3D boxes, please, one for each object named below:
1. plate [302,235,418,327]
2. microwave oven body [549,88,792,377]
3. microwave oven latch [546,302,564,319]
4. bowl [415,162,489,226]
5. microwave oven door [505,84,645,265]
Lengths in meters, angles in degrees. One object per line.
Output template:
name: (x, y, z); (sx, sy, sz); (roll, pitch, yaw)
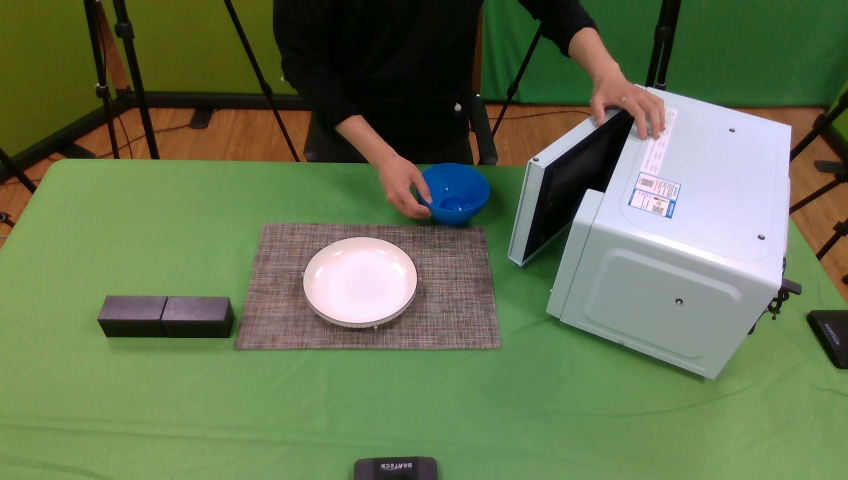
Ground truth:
plate: (-0.114, 0.077, 1.098); (0.208, 0.039, 0.206); (2, 46, -2)
microwave oven body: (0.456, -0.028, 1.088); (0.325, 0.261, 0.440); (20, 47, 16)
microwave oven latch: (0.242, 0.102, 1.081); (0.030, 0.029, 0.079); (22, 48, 17)
bowl: (0.053, -0.081, 1.244); (0.151, 0.077, 0.150); (4, 47, -4)
microwave oven door: (0.297, -0.130, 1.168); (0.039, 0.245, 0.355); (36, 54, 26)
